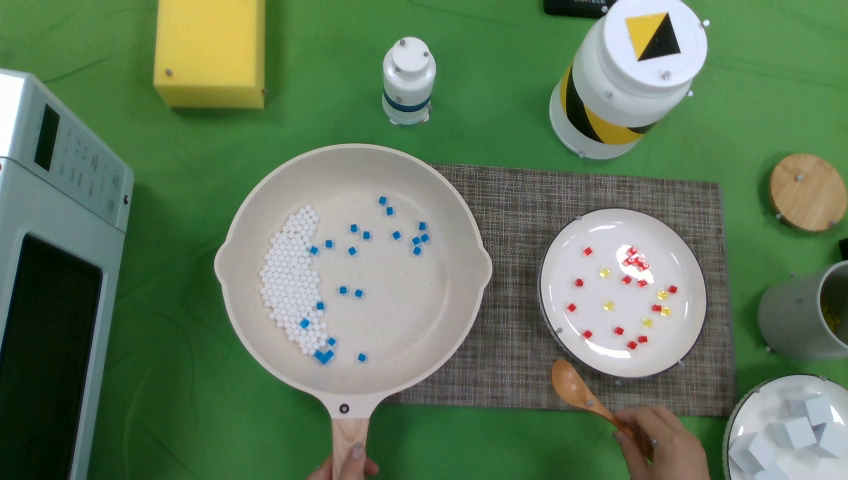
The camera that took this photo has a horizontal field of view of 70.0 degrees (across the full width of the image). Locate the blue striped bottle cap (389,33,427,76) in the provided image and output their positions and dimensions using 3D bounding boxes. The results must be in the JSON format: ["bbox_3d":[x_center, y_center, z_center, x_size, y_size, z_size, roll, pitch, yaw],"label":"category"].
[{"bbox_3d":[-0.018,-0.211,0.688,0.044,0.021,0.044,1,74,-4],"label":"blue striped bottle cap"}]

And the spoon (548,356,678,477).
[{"bbox_3d":[0.204,0.194,0.652,0.194,0.022,0.041,40,47,-3],"label":"spoon"}]

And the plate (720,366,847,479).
[{"bbox_3d":[0.450,0.256,0.724,0.208,0.039,0.206,1,77,-5],"label":"plate"}]

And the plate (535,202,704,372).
[{"bbox_3d":[0.236,0.057,0.744,0.209,0.038,0.208,1,77,-5],"label":"plate"}]

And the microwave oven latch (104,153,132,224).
[{"bbox_3d":[-0.357,-0.059,0.697,0.030,0.029,0.079,5,77,-5],"label":"microwave oven latch"}]

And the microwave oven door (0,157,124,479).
[{"bbox_3d":[-0.362,0.130,0.550,0.039,0.244,0.354,3,77,-4],"label":"microwave oven door"}]

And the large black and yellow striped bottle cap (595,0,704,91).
[{"bbox_3d":[0.241,-0.215,0.646,0.115,0.019,0.114,1,76,-5],"label":"large black and yellow striped bottle cap"}]

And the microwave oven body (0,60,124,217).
[{"bbox_3d":[-0.505,0.080,0.552,0.326,0.261,0.439,4,77,-5],"label":"microwave oven body"}]

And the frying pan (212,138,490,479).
[{"bbox_3d":[-0.082,0.125,0.664,0.307,0.103,0.484,2,69,-2],"label":"frying pan"}]

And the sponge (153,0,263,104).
[{"bbox_3d":[-0.267,-0.279,0.762,0.118,0.061,0.206,-2,78,-6],"label":"sponge"}]

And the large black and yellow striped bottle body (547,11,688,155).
[{"bbox_3d":[0.234,-0.195,0.729,0.131,0.184,0.130,1,76,-5],"label":"large black and yellow striped bottle body"}]

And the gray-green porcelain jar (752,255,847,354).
[{"bbox_3d":[0.468,0.081,0.719,0.106,0.127,0.105,1,77,-5],"label":"gray-green porcelain jar"}]

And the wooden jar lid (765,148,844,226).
[{"bbox_3d":[0.506,-0.070,0.811,0.108,0.021,0.108,1,79,-5],"label":"wooden jar lid"}]

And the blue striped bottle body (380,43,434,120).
[{"bbox_3d":[-0.022,-0.200,0.738,0.063,0.121,0.063,1,77,-5],"label":"blue striped bottle body"}]
